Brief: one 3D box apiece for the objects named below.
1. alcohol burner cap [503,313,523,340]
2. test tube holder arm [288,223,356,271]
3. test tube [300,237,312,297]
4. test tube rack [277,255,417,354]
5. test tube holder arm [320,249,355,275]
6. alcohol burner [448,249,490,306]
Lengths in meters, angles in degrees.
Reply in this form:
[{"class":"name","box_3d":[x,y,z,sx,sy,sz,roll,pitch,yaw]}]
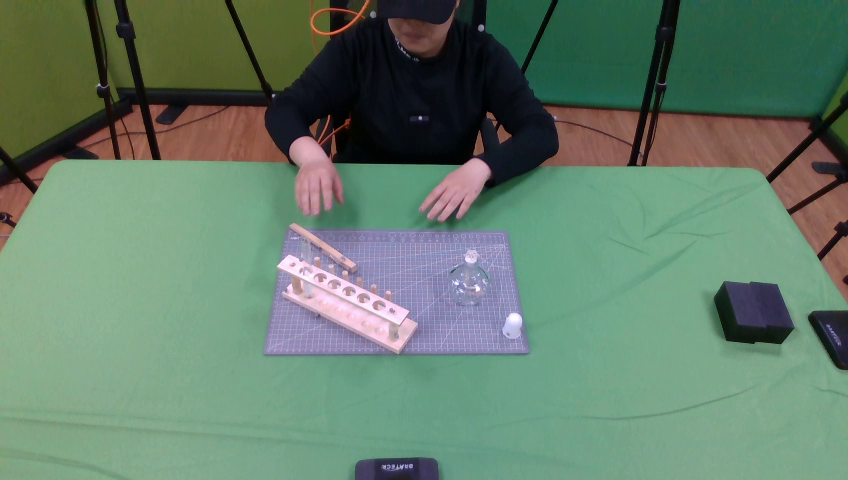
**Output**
[{"class":"alcohol burner cap","box_3d":[0.155,0.147,1.051,0.034,0.048,0.033,1,45,-1]},{"class":"test tube holder arm","box_3d":[-0.199,0.011,1.169,0.177,0.013,0.015,32,47,26]},{"class":"test tube","box_3d":[-0.198,0.049,1.019,0.017,0.151,0.017,4,49,-5]},{"class":"test tube rack","box_3d":[-0.131,0.099,1.045,0.241,0.085,0.066,23,49,17]},{"class":"test tube holder arm","box_3d":[-0.166,0.038,1.154,0.087,0.010,0.015,37,49,22]},{"class":"alcohol burner","box_3d":[0.081,0.062,1.078,0.078,0.120,0.077,1,45,-1]}]
